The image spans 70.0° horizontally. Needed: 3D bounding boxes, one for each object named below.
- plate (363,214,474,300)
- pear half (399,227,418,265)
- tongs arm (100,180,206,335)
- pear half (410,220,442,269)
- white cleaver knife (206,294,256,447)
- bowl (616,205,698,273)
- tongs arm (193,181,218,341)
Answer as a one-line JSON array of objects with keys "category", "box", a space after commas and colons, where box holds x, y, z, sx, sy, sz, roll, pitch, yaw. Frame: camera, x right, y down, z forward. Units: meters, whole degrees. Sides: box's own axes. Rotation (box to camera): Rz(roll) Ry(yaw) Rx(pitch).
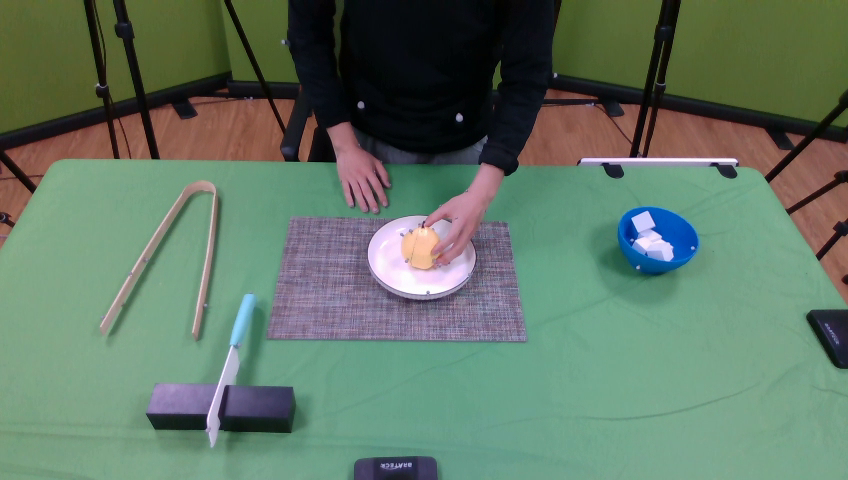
[{"category": "plate", "box": [-0.010, 0.036, 1.146, 0.208, 0.039, 0.206, 2, 46, -2]}, {"category": "pear half", "box": [-0.031, 0.006, 1.125, 0.031, 0.088, 0.070, 7, 51, -1]}, {"category": "tongs arm", "box": [-0.494, 0.018, 1.132, 0.051, 0.026, 0.382, 6, 45, 0]}, {"category": "pear half", "box": [0.006, 0.004, 1.116, 0.056, 0.110, 0.076, 6, 52, 1]}, {"category": "white cleaver knife", "box": [-0.305, 0.191, 0.956, 0.021, 0.066, 0.284, 6, 36, -4]}, {"category": "bowl", "box": [0.443, 0.011, 1.182, 0.151, 0.077, 0.150, 2, 46, -2]}, {"category": "tongs arm", "box": [-0.413, 0.024, 1.140, 0.028, 0.028, 0.385, -5, 47, -7]}]
